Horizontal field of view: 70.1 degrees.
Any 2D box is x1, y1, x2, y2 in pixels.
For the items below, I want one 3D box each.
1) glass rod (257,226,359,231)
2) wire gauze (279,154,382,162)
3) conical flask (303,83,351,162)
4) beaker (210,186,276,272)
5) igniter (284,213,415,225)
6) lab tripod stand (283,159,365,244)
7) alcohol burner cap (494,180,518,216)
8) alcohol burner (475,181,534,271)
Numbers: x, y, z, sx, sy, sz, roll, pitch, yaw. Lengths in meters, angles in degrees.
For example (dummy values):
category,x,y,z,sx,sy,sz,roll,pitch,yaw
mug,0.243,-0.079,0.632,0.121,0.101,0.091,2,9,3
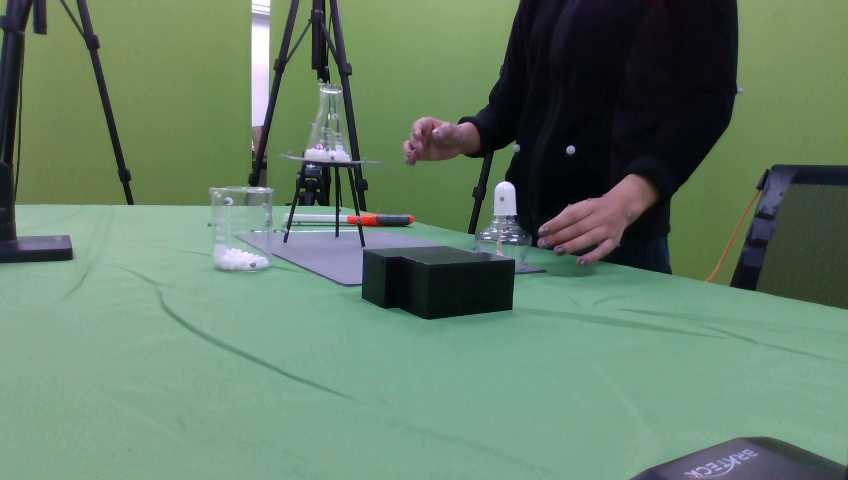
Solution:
category,x,y,z,sx,sy,sz,roll,pitch,yaw
glass rod,-0.215,-0.021,1.150,0.201,0.008,0.008,-2,8,-27
wire gauze,-0.149,-0.128,0.974,0.124,0.011,0.122,6,6,41
conical flask,-0.151,-0.186,0.963,0.075,0.122,0.075,4,6,0
beaker,-0.224,-0.014,0.738,0.084,0.100,0.074,4,7,16
igniter,-0.154,-0.045,1.282,0.278,0.025,0.057,0,-2,-20
lab tripod stand,-0.151,-0.063,0.983,0.148,0.131,0.148,4,7,0
alcohol burner cap,0.108,-0.055,0.800,0.034,0.048,0.034,-2,4,0
alcohol burner,0.108,-0.020,0.804,0.078,0.119,0.078,3,5,0
